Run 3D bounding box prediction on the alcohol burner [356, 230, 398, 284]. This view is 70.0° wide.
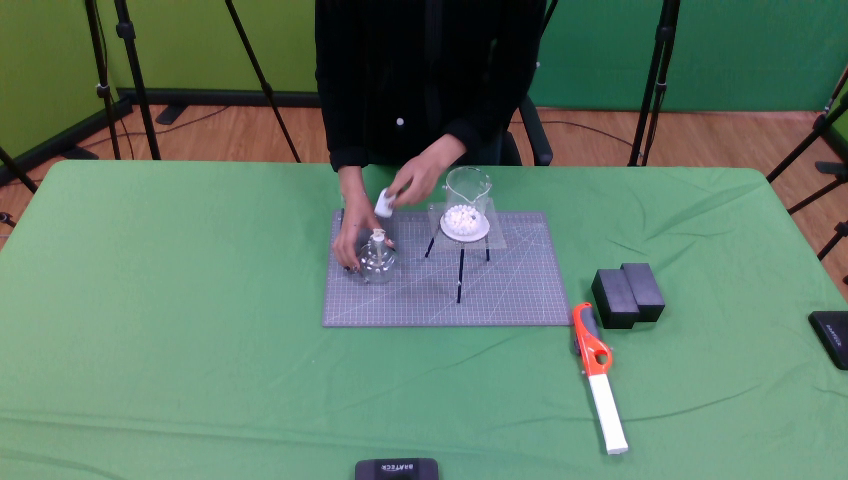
[{"bbox_3d":[-0.085,0.024,1.102,0.078,0.119,0.077,3,48,-3],"label":"alcohol burner"}]

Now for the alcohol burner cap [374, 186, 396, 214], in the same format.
[{"bbox_3d":[-0.066,-0.073,1.063,0.034,0.048,0.033,14,24,-6],"label":"alcohol burner cap"}]

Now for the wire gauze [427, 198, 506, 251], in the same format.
[{"bbox_3d":[0.072,-0.027,1.056,0.125,0.011,0.120,-1,49,-8],"label":"wire gauze"}]

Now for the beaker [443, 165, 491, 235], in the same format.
[{"bbox_3d":[0.070,-0.062,1.023,0.074,0.101,0.083,-2,48,-6],"label":"beaker"}]

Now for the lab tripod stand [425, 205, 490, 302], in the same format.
[{"bbox_3d":[0.069,0.017,1.106,0.148,0.132,0.147,3,47,-3],"label":"lab tripod stand"}]

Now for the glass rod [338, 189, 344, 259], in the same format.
[{"bbox_3d":[-0.167,-0.037,1.226,0.008,0.008,0.198,-1,47,-4],"label":"glass rod"}]

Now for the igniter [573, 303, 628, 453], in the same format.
[{"bbox_3d":[0.288,0.217,1.006,0.057,0.025,0.274,-9,46,8],"label":"igniter"}]
